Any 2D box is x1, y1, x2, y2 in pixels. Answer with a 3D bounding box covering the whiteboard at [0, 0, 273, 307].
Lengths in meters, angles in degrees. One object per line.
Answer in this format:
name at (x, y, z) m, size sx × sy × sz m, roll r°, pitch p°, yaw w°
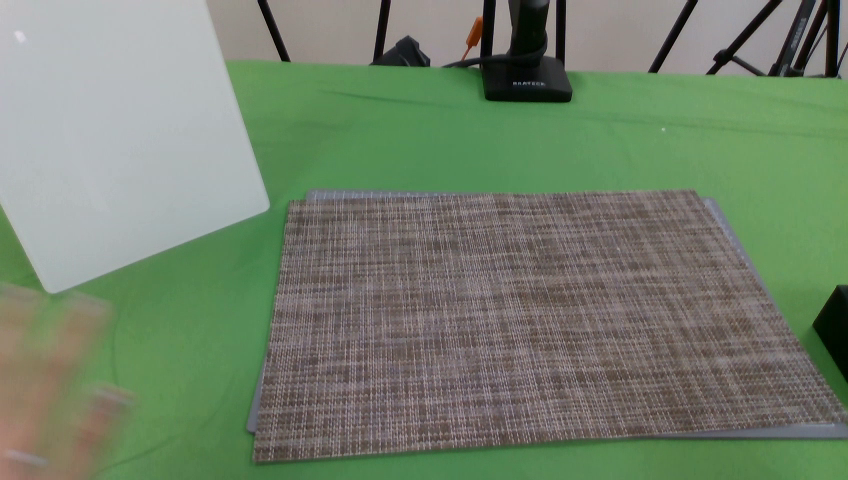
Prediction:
whiteboard at (-0.309, -0.134, 0.573) m, size 0.217 × 0.308 × 0.142 m, roll -25°, pitch 28°, yaw -28°
